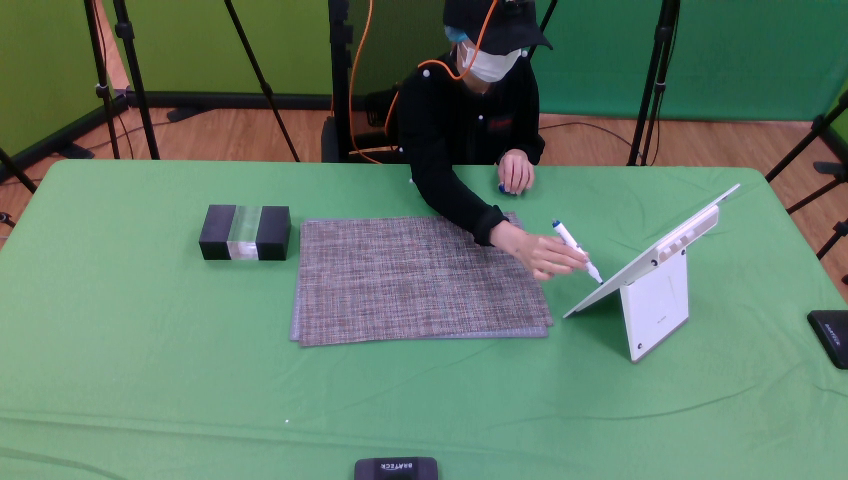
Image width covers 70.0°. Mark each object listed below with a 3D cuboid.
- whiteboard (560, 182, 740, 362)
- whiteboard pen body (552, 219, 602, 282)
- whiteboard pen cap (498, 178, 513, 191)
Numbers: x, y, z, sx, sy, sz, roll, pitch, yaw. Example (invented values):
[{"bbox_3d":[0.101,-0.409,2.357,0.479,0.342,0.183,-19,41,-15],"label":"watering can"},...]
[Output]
[{"bbox_3d":[0.406,0.075,1.001,0.217,0.306,0.143,-28,73,-28],"label":"whiteboard"},{"bbox_3d":[0.263,0.022,1.027,0.141,0.017,0.017,51,54,-8],"label":"whiteboard pen body"},{"bbox_3d":[0.176,-0.120,1.317,0.033,0.018,0.018,-34,57,-22],"label":"whiteboard pen cap"}]
